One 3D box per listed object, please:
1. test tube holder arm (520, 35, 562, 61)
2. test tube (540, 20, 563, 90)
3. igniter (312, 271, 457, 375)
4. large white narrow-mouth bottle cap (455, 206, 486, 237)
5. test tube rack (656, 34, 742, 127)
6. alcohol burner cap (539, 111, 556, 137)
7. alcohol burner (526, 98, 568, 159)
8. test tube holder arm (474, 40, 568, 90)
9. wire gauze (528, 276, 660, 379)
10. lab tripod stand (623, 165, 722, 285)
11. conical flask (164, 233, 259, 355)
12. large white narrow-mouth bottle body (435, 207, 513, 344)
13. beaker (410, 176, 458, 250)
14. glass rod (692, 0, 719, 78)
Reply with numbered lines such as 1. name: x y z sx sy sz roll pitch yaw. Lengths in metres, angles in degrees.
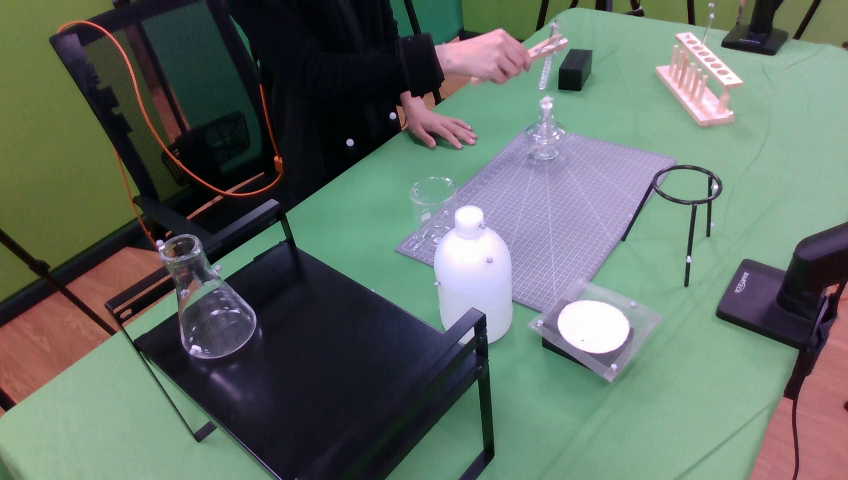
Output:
1. test tube holder arm: 0.190 -0.308 0.984 0.088 0.015 0.010 -35 61 -18
2. test tube: 0.211 -0.305 1.011 0.017 0.151 0.017 0 63 1
3. igniter: -0.068 0.111 0.859 0.274 0.025 0.057 27 61 34
4. large white narrow-mouth bottle cap: 0.057 -0.023 0.734 0.038 0.024 0.037 -4 41 4
5. test tube rack: 0.553 -0.330 1.233 0.067 0.085 0.241 -7 40 2
6. alcohol burner cap: 0.244 -0.232 1.196 0.034 0.048 0.033 -5 38 4
7. alcohol burner: 0.228 -0.210 1.118 0.078 0.119 0.077 -5 43 5
8. test tube holder arm: 0.156 -0.282 0.969 0.179 0.015 0.013 -29 59 -15
9. wire gauze: 0.214 0.103 0.763 0.124 0.011 0.122 30 52 35
10. lab tripod stand: 0.365 -0.030 0.875 0.148 0.132 0.147 -6 41 6
11. conical flask: -0.216 0.051 0.601 0.075 0.122 0.075 -4 40 4
12. large white narrow-mouth bottle body: 0.065 0.041 0.791 0.102 0.195 0.101 -4 41 4
13. beaker: 0.022 -0.041 0.964 0.073 0.101 0.084 28 51 35
14. glass rod: 0.561 -0.401 1.214 0.008 0.200 0.008 -1 48 2
